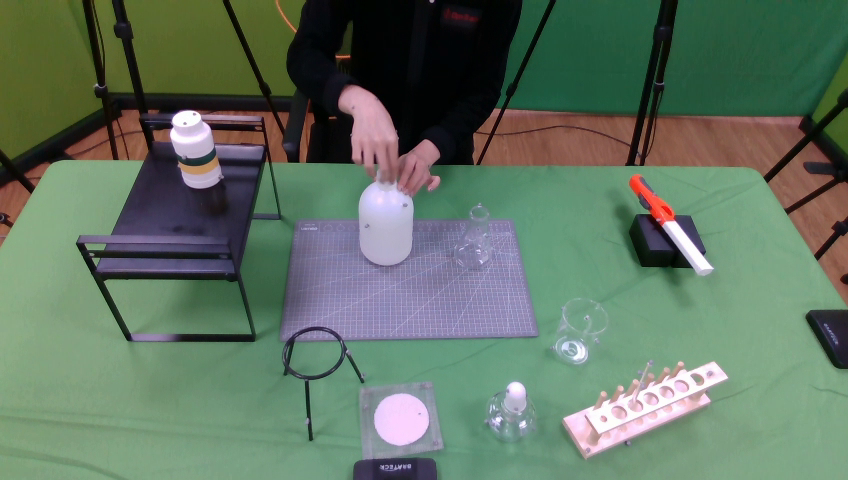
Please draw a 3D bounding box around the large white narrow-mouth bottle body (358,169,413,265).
[{"bbox_3d":[-0.072,-0.049,1.116,0.102,0.195,0.101,3,47,-3],"label":"large white narrow-mouth bottle body"}]

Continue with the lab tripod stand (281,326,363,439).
[{"bbox_3d":[-0.166,0.203,0.913,0.148,0.132,0.147,1,47,-1],"label":"lab tripod stand"}]

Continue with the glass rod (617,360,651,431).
[{"bbox_3d":[0.298,0.226,0.865,0.008,0.201,0.008,-1,48,2],"label":"glass rod"}]

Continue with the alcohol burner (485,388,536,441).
[{"bbox_3d":[0.131,0.249,0.904,0.078,0.120,0.077,1,48,-1],"label":"alcohol burner"}]

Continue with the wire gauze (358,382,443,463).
[{"bbox_3d":[-0.039,0.277,0.937,0.121,0.011,0.124,-4,47,-7],"label":"wire gauze"}]

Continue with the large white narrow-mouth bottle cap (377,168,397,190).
[{"bbox_3d":[-0.064,-0.106,1.053,0.038,0.024,0.037,3,47,-3],"label":"large white narrow-mouth bottle cap"}]

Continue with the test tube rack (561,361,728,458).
[{"bbox_3d":[0.341,0.248,0.940,0.243,0.085,0.066,-15,49,-18],"label":"test tube rack"}]

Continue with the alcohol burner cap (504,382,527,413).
[{"bbox_3d":[0.133,0.225,0.877,0.034,0.048,0.033,-4,47,4],"label":"alcohol burner cap"}]

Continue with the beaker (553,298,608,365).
[{"bbox_3d":[0.260,0.154,1.015,0.073,0.101,0.084,37,54,27],"label":"beaker"}]

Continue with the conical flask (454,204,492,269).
[{"bbox_3d":[0.097,-0.009,1.140,0.075,0.122,0.075,2,46,-2],"label":"conical flask"}]

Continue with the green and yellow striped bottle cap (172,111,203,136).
[{"bbox_3d":[-0.374,-0.185,0.957,0.045,0.020,0.045,3,45,-3],"label":"green and yellow striped bottle cap"}]

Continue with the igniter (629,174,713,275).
[{"bbox_3d":[0.481,-0.040,1.202,0.057,0.025,0.274,-1,46,-21],"label":"igniter"}]

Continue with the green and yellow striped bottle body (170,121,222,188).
[{"bbox_3d":[-0.375,-0.149,0.995,0.063,0.120,0.063,2,46,-2],"label":"green and yellow striped bottle body"}]
